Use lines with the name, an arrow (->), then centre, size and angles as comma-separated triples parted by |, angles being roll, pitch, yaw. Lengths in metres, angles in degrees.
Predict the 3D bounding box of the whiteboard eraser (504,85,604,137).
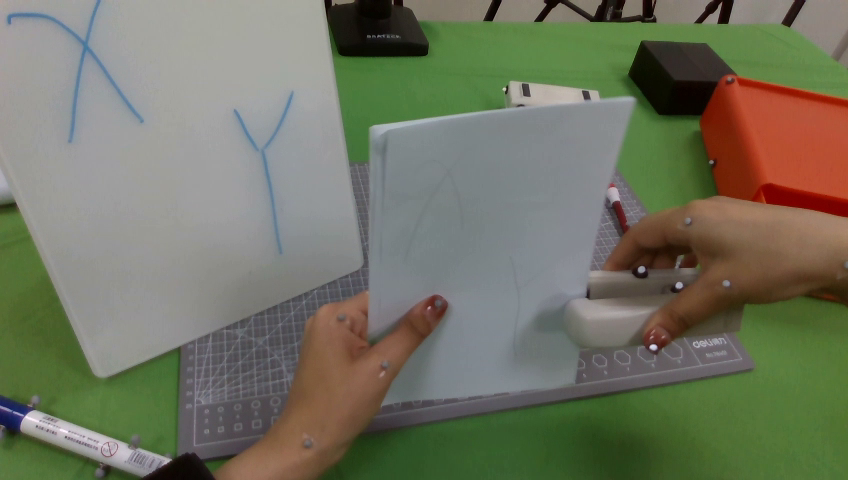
whiteboard eraser -> 0.153, -0.152, 0.719 | 0.113, 0.042, 0.055 | 7, 46, -4

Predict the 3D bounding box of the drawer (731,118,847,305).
drawer -> 0.415, -0.031, 0.617 | 0.194, 0.074, 0.210 | 11, 44, 2

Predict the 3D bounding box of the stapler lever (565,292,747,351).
stapler lever -> 0.151, 0.052, 0.390 | 0.118, 0.027, 0.040 | -1, 24, 3

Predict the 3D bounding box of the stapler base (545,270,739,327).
stapler base -> 0.150, 0.044, 0.411 | 0.130, 0.041, 0.024 | -2, 24, 0

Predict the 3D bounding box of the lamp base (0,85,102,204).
lamp base -> -0.389, -0.147, 0.510 | 0.178, 0.182, 0.160 | 23, 46, 16

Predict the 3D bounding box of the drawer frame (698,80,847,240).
drawer frame -> 0.425, -0.074, 0.661 | 0.202, 0.083, 0.211 | 11, 43, 1

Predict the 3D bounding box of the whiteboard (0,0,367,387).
whiteboard -> -0.187, -0.092, 0.445 | 0.217, 0.308, 0.142 | -23, 34, -28

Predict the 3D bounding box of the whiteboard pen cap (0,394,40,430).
whiteboard pen cap -> -0.266, 0.111, 0.389 | 0.033, 0.018, 0.018 | 16, 44, 9

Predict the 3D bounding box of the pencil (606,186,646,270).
pencil -> 0.202, 0.015, 0.578 | 0.012, 0.012, 0.192 | 3, 46, -7

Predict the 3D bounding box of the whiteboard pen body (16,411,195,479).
whiteboard pen body -> -0.210, 0.129, 0.382 | 0.140, 0.017, 0.017 | 16, 44, 7
